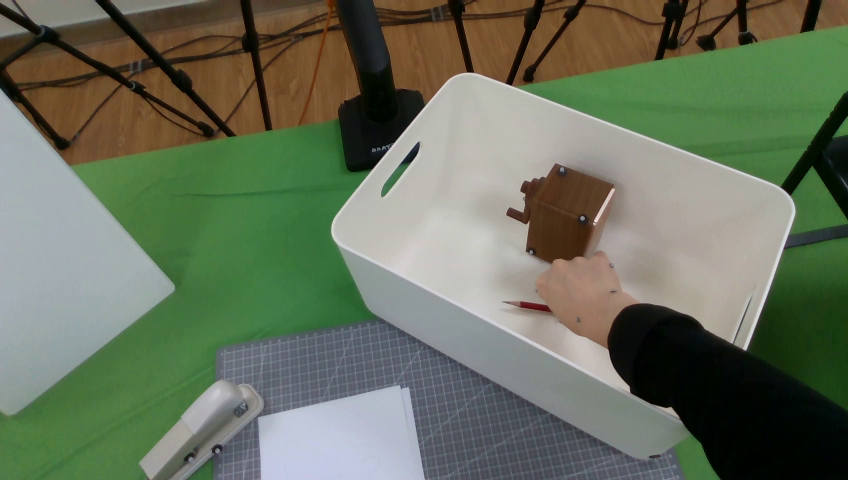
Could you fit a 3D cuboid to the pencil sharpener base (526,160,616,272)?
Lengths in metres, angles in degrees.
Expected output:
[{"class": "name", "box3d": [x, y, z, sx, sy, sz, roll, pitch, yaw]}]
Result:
[{"class": "pencil sharpener base", "box3d": [0.156, -0.025, 0.667, 0.076, 0.108, 0.061, 25, 62, 20]}]

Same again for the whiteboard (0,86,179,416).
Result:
[{"class": "whiteboard", "box3d": [-0.456, -0.008, 0.632, 0.217, 0.309, 0.142, -41, 45, -18]}]

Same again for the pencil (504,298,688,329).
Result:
[{"class": "pencil", "box3d": [0.183, 0.078, 0.656, 0.193, 0.012, 0.012, 7, 59, 11]}]

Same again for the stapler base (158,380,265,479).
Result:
[{"class": "stapler base", "box3d": [-0.224, 0.194, 0.618, 0.130, 0.025, 0.041, -42, 60, -16]}]

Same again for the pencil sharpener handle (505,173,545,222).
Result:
[{"class": "pencil sharpener handle", "box3d": [0.110, -0.050, 0.671, 0.030, 0.068, 0.036, 25, 47, 20]}]

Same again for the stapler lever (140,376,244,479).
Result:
[{"class": "stapler lever", "box3d": [-0.229, 0.182, 0.596, 0.118, 0.040, 0.026, -42, 60, -16]}]

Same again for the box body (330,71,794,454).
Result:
[{"class": "box body", "box3d": [0.128, 0.016, 0.617, 0.362, 0.162, 0.253, 26, 63, 19]}]
